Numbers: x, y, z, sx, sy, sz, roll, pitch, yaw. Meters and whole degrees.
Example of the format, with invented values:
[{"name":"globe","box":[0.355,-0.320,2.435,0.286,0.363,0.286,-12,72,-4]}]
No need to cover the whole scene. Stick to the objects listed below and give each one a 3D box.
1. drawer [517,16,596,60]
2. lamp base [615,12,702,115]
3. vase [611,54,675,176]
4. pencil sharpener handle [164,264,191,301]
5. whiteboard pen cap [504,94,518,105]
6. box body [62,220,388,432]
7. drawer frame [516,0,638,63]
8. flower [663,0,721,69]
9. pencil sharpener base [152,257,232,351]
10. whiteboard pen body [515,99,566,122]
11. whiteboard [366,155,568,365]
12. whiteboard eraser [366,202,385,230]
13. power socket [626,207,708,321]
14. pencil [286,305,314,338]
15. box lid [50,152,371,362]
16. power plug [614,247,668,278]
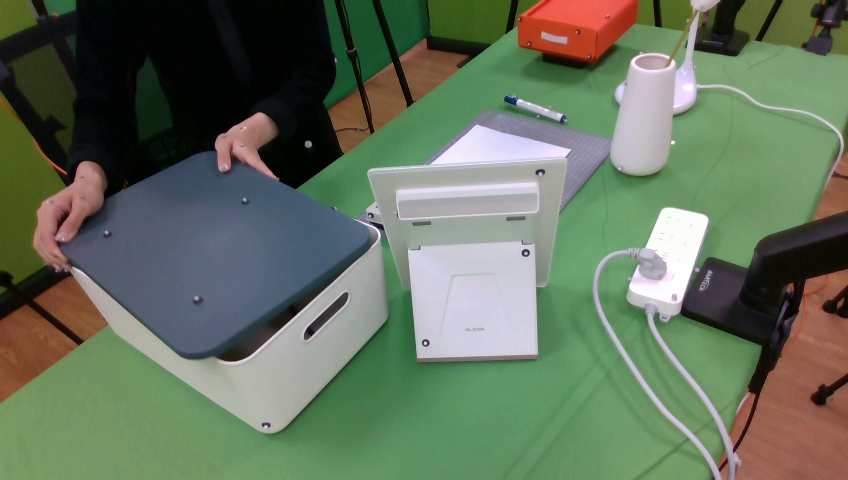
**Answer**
[{"name":"drawer","box":[0.352,-0.506,1.405,0.193,0.073,0.212,23,49,32]},{"name":"lamp base","box":[0.484,-0.364,1.211,0.180,0.181,0.159,-15,41,-14]},{"name":"vase","box":[0.377,-0.209,1.031,0.098,0.201,0.097,-3,40,3]},{"name":"pencil sharpener handle","box":[-0.354,0.055,0.866,0.036,0.068,0.030,-16,39,-29]},{"name":"whiteboard pen cap","box":[0.190,-0.299,1.292,0.033,0.018,0.018,30,52,28]},{"name":"box body","box":[-0.255,0.065,0.827,0.361,0.161,0.255,21,48,29]},{"name":"drawer frame","box":[0.355,-0.508,1.411,0.200,0.083,0.214,23,51,32]},{"name":"flower","box":[0.379,-0.261,0.965,0.044,0.362,0.038,20,53,5]},{"name":"pencil sharpener base","box":[-0.323,0.088,0.842,0.061,0.107,0.076,-27,44,-20]},{"name":"whiteboard pen body","box":[0.233,-0.274,1.262,0.139,0.017,0.017,28,51,29]},{"name":"whiteboard","box":[0.059,0.050,0.738,0.217,0.307,0.143,-2,59,5]},{"name":"whiteboard eraser","box":[-0.037,-0.038,1.006,0.112,0.042,0.055,16,48,25]},{"name":"power socket","box":[0.359,0.025,0.886,0.072,0.033,0.227,16,46,26]},{"name":"pencil","box":[-0.189,0.106,0.878,0.012,0.012,0.192,-29,43,-24]},{"name":"box lid","box":[-0.274,-0.004,0.764,0.368,0.015,0.264,26,48,33]},{"name":"power plug","box":[0.306,0.031,0.851,0.072,0.053,0.035,24,49,33]}]
